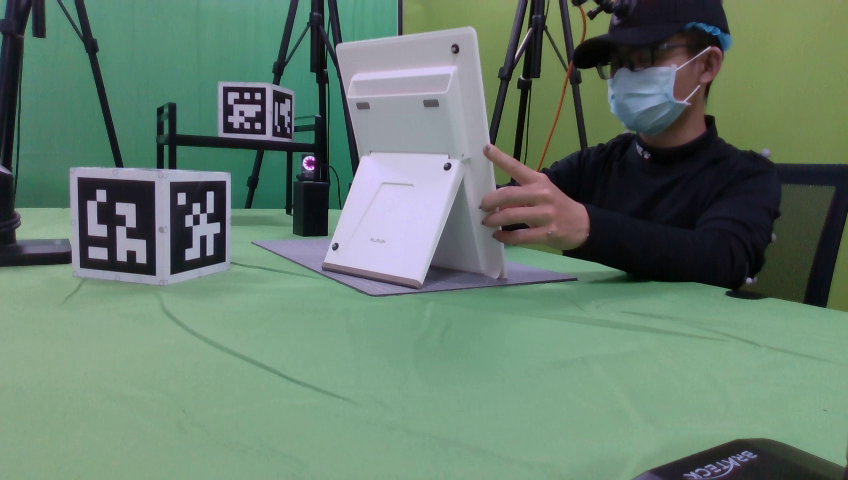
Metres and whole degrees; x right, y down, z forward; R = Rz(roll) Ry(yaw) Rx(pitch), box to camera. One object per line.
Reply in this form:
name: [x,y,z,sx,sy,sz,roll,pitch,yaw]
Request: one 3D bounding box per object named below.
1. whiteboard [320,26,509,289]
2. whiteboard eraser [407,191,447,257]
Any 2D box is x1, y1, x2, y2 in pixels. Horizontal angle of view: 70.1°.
whiteboard: [-0.046,-0.076,0.720,0.216,0.305,0.144,9,29,39]
whiteboard eraser: [0.004,-0.021,0.815,0.041,0.101,0.019,34,41,20]
